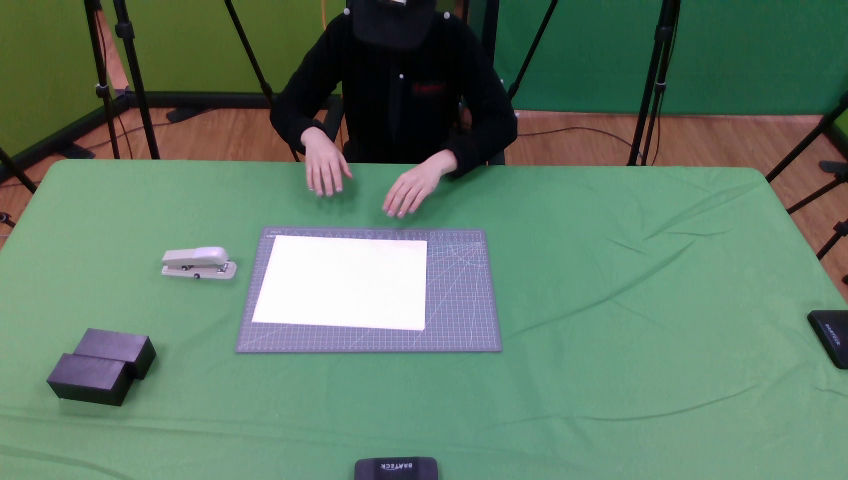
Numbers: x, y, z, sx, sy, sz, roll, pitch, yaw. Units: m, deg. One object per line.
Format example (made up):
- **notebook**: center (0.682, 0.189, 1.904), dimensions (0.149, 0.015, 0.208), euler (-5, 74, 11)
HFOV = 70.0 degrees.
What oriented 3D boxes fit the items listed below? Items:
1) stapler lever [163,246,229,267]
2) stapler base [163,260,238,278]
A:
- **stapler lever**: center (-0.415, 0.029, 1.103), dimensions (0.118, 0.040, 0.026), euler (3, 43, 0)
- **stapler base**: center (-0.415, 0.046, 1.120), dimensions (0.130, 0.024, 0.041), euler (2, 43, 0)
